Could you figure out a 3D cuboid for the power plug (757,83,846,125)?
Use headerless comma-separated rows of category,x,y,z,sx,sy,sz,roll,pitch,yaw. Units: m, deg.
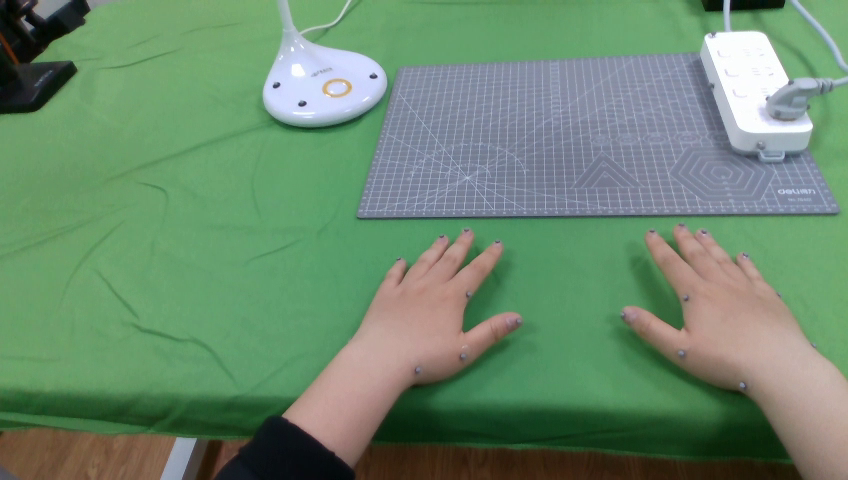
power plug,0.368,-0.126,0.595,0.072,0.053,0.035,9,47,16

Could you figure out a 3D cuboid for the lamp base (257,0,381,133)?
lamp base,-0.152,-0.247,0.734,0.160,0.182,0.177,-37,48,-26

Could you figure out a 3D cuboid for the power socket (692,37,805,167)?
power socket,0.351,-0.162,0.667,0.072,0.033,0.224,2,45,9
